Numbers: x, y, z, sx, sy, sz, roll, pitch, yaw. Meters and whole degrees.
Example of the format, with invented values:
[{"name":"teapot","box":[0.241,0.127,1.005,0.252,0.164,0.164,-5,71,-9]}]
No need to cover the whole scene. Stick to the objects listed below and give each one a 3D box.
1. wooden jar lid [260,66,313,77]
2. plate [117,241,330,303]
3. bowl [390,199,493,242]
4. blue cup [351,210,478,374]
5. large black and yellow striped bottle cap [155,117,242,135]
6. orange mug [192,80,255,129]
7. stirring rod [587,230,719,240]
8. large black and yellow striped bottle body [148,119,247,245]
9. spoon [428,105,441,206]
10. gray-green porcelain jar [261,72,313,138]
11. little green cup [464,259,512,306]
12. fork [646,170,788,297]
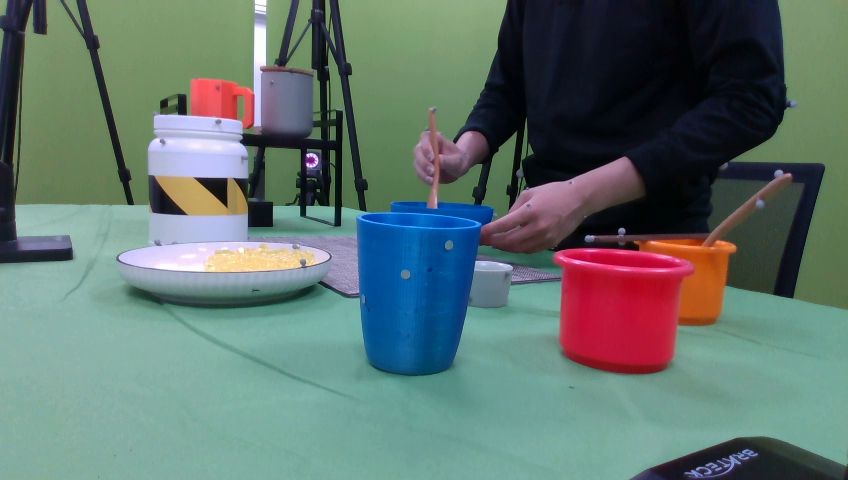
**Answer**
[{"name":"wooden jar lid","box":[-0.283,-0.339,1.245,0.108,0.020,0.108,6,9,-1]},{"name":"plate","box":[-0.203,0.031,0.630,0.209,0.038,0.209,3,7,0]},{"name":"bowl","box":[0.023,-0.016,0.874,0.151,0.077,0.151,2,7,0]},{"name":"blue cup","box":[-0.009,0.034,0.414,0.093,0.100,0.092,4,8,0]},{"name":"large black and yellow striped bottle cap","box":[-0.313,-0.159,0.845,0.115,0.019,0.115,3,9,0]},{"name":"orange mug","box":[-0.389,-0.256,1.172,0.126,0.100,0.083,0,6,9]},{"name":"stirring rod","box":[0.226,-0.006,0.587,0.177,0.006,0.014,-2,10,-29]},{"name":"large black and yellow striped bottle body","box":[-0.318,-0.076,0.855,0.131,0.184,0.130,2,7,0]},{"name":"spoon","box":[0.017,-0.102,0.891,0.022,0.193,0.041,2,-4,-17]},{"name":"gray-green porcelain jar","box":[-0.284,-0.276,1.253,0.106,0.126,0.106,2,8,0]},{"name":"little green cup","box":[0.057,0.043,0.611,0.061,0.038,0.061,3,7,0]},{"name":"fork","box":[0.256,0.004,0.543,0.028,0.018,0.207,3,-36,-9]}]
